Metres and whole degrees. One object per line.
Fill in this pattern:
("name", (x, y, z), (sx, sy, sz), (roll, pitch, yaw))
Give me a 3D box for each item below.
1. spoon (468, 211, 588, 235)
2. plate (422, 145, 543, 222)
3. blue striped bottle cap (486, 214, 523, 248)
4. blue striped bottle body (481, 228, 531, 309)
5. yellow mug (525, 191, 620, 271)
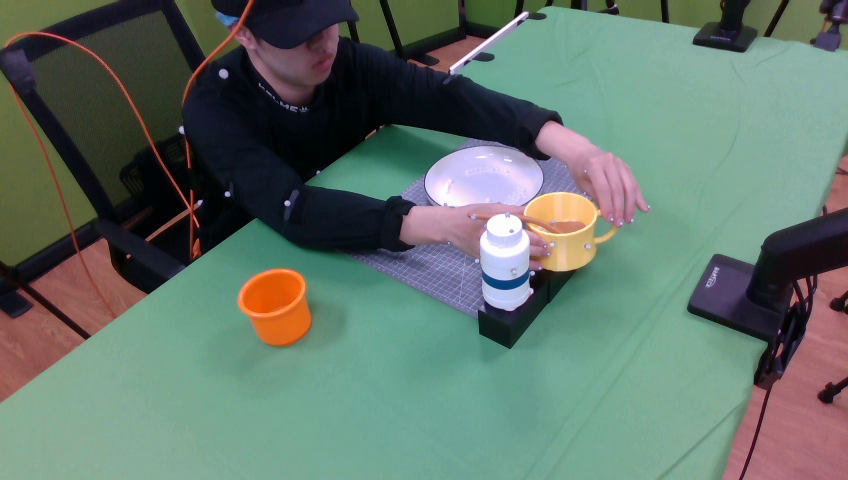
("spoon", (0.143, -0.025, 0.817), (0.195, 0.021, 0.041), (10, 34, -28))
("plate", (0.101, -0.094, 1.048), (0.207, 0.039, 0.206), (-4, 41, 4))
("blue striped bottle cap", (0.098, -0.011, 0.735), (0.044, 0.021, 0.044), (-3, 39, 3))
("blue striped bottle body", (0.104, 0.026, 0.769), (0.063, 0.121, 0.063), (-4, 41, 4))
("yellow mug", (0.207, -0.015, 0.843), (0.131, 0.064, 0.099), (-6, 41, 3))
